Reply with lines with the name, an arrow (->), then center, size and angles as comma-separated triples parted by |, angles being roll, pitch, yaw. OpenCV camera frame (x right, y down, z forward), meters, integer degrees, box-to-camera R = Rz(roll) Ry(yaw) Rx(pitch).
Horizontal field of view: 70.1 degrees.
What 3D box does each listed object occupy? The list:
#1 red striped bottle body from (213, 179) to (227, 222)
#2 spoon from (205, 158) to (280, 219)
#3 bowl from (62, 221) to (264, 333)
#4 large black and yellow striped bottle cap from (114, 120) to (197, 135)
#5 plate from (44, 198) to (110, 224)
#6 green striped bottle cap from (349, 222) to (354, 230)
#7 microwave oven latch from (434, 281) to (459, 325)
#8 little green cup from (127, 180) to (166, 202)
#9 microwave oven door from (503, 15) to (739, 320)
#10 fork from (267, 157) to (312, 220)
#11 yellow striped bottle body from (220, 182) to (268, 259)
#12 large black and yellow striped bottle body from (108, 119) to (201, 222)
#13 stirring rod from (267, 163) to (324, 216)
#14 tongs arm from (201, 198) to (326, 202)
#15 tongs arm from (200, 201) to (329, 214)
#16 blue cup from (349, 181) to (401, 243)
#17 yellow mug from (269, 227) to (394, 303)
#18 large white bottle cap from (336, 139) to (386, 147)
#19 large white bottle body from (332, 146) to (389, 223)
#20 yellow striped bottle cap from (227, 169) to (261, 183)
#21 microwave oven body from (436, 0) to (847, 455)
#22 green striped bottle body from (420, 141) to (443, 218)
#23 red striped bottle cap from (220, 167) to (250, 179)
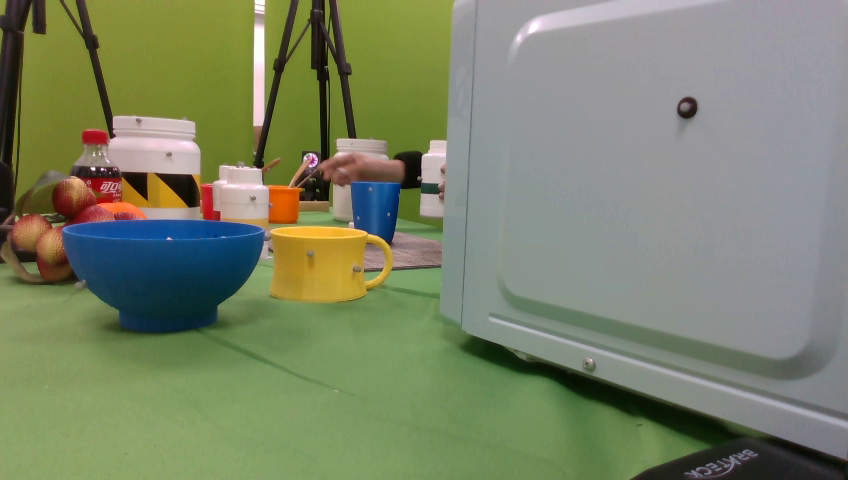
red striped bottle body -> -0.284, -0.048, 0.909 | 0.063, 0.119, 0.063 | 3, 12, 0
spoon -> -0.365, -0.103, 1.214 | 0.193, 0.021, 0.041 | -42, 3, 6
bowl -> -0.209, 0.029, 0.496 | 0.151, 0.077, 0.151 | 2, 7, 0
large black and yellow striped bottle cap -> -0.407, -0.171, 0.920 | 0.115, 0.019, 0.115 | 2, 9, 0
plate -> -0.617, -0.056, 1.179 | 0.209, 0.038, 0.209 | 3, 7, 0
green striped bottle cap -> -0.120, -0.027, 1.156 | 0.044, 0.020, 0.044 | -12, 12, 3
microwave oven latch -> 0.044, 0.045, 0.470 | 0.079, 0.029, 0.030 | -2, 8, -39
little green cup -> -0.485, -0.086, 1.061 | 0.061, 0.038, 0.061 | 1, 7, 0
microwave oven door -> 0.218, -0.065, 0.600 | 0.358, 0.243, 0.039 | -4, 10, -41
fork -> -0.289, -0.116, 1.321 | 0.028, 0.019, 0.207 | 6, 52, 18
yellow striped bottle body -> -0.246, -0.036, 0.825 | 0.063, 0.120, 0.063 | 3, 8, 0
large black and yellow striped bottle body -> -0.412, -0.088, 0.930 | 0.131, 0.184, 0.130 | 3, 7, 0
stirring rod -> -0.278, -0.105, 1.294 | 0.176, 0.006, 0.014 | -47, 25, -18
tongs arm -> -0.433, -0.090, 1.507 | 0.390, 0.028, 0.028 | -1, 2, -30
tongs arm -> -0.378, -0.079, 1.440 | 0.387, 0.026, 0.050 | -4, 8, -44
blue cup -> -0.082, -0.047, 1.010 | 0.093, 0.100, 0.092 | 1, 6, 0
yellow mug -> -0.094, 0.023, 0.629 | 0.131, 0.064, 0.099 | 0, 6, -22
large white bottle cap -> -0.143, -0.219, 1.375 | 0.115, 0.018, 0.115 | 2, 8, 0
large white bottle body -> -0.146, -0.136, 1.388 | 0.131, 0.184, 0.130 | 2, 8, 0
yellow striped bottle cap -> -0.243, -0.087, 0.818 | 0.044, 0.018, 0.044 | 3, 6, 0
microwave oven body -> 0.279, -0.040, 0.465 | 0.444, 0.260, 0.324 | -3, 9, -41
green striped bottle body -> 0.026, -0.095, 0.946 | 0.063, 0.119, 0.063 | 2, 6, 0
red striped bottle cap -> -0.281, -0.100, 0.901 | 0.044, 0.017, 0.044 | -1, 5, 0
